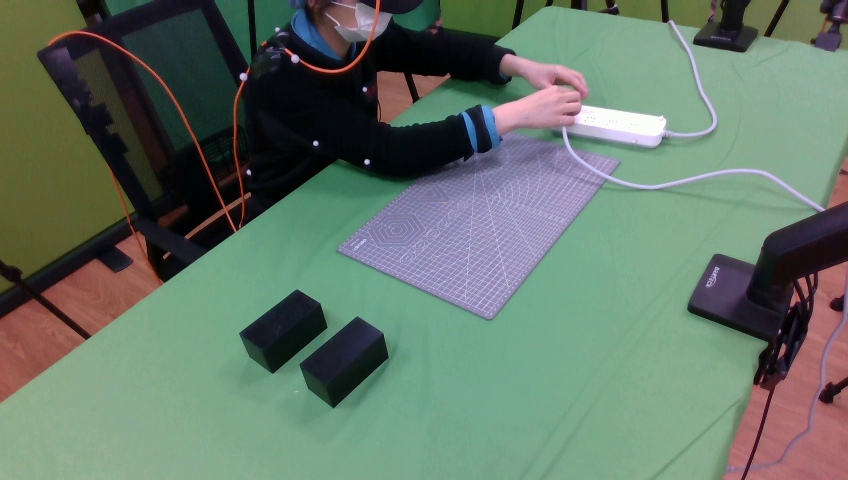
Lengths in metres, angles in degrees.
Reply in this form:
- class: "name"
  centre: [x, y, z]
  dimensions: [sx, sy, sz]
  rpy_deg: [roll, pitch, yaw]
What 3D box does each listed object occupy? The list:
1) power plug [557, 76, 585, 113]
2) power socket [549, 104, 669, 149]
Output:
- class: "power plug"
  centre: [0.278, -0.276, 1.154]
  dimensions: [0.052, 0.073, 0.035]
  rpy_deg: [13, 58, 49]
- class: "power socket"
  centre: [0.353, -0.222, 1.169]
  dimensions: [0.225, 0.033, 0.072]
  rpy_deg: [16, 47, 25]
